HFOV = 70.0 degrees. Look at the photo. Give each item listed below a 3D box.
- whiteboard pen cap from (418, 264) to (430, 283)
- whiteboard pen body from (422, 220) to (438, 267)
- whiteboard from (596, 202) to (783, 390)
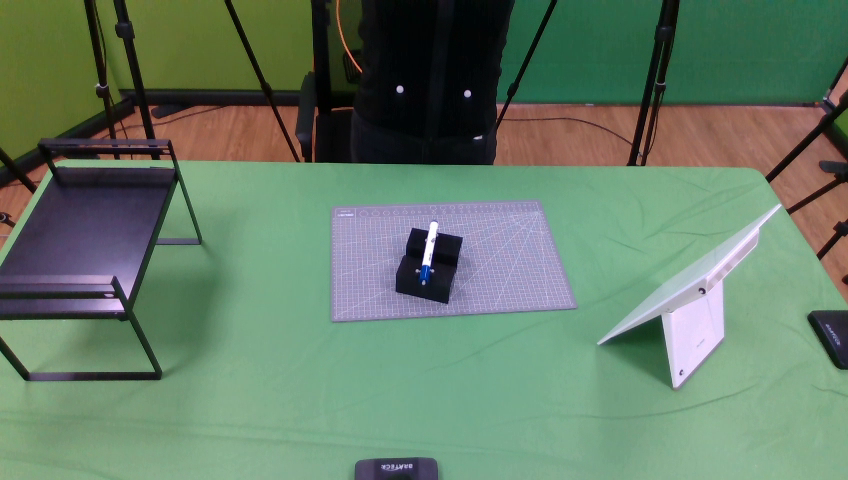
[{"bbox_3d":[0.001,0.059,1.069,0.018,0.018,0.033,8,48,4],"label":"whiteboard pen cap"},{"bbox_3d":[0.010,0.017,1.107,0.017,0.017,0.140,8,49,4],"label":"whiteboard pen body"},{"bbox_3d":[0.459,0.112,0.968,0.217,0.306,0.143,-31,74,-29],"label":"whiteboard"}]
